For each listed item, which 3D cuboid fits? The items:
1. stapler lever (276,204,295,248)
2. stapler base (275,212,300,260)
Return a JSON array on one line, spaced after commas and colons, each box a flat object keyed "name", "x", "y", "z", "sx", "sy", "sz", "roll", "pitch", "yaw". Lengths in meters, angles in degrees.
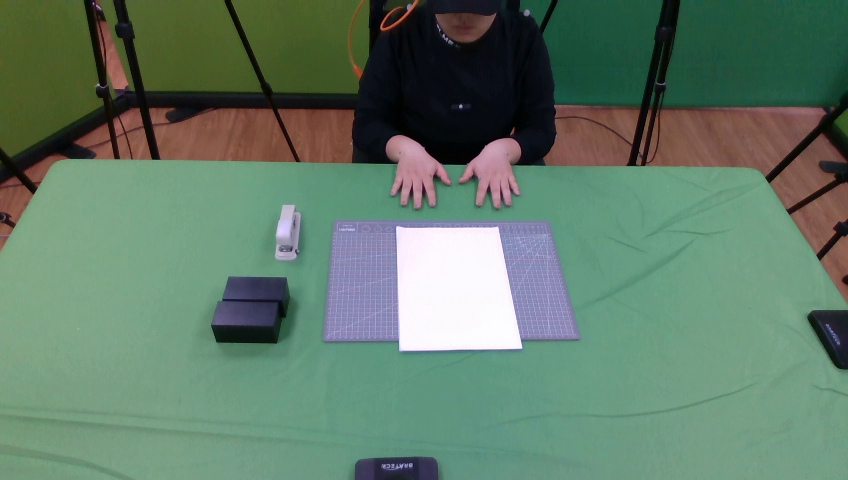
[{"name": "stapler lever", "x": -0.268, "y": -0.034, "z": 1.175, "sx": 0.027, "sy": 0.040, "sz": 0.117, "roll": 0, "pitch": 45, "yaw": -7}, {"name": "stapler base", "x": -0.268, "y": -0.016, "z": 1.191, "sx": 0.041, "sy": 0.024, "sz": 0.129, "roll": 0, "pitch": 44, "yaw": -7}]
